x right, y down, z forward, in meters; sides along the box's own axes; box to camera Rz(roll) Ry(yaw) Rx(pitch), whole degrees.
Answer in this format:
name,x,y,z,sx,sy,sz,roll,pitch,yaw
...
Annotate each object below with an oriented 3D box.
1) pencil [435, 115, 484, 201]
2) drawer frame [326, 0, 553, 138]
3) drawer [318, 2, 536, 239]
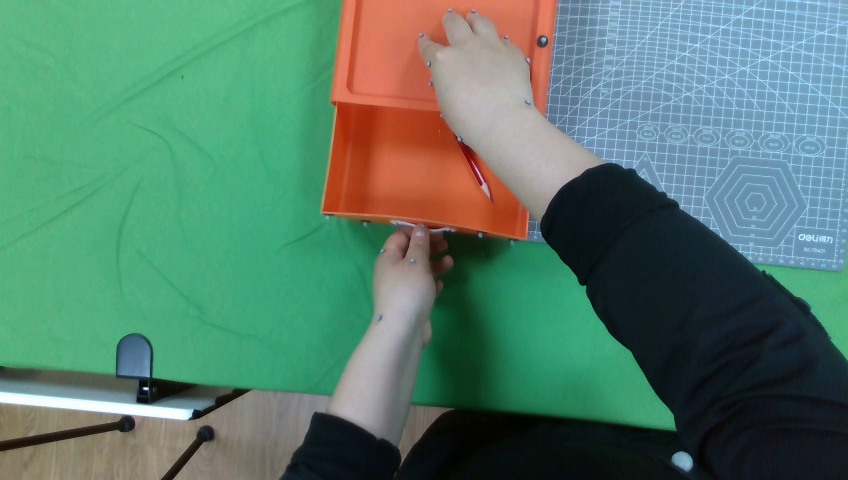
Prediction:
name,x,y,z,sx,sy,sz,roll,pitch,yaw
pencil,0.015,-0.125,0.608,0.012,0.012,0.194,-27,89,5
drawer frame,0.020,-0.217,0.586,0.201,0.083,0.213,5,90,6
drawer,0.011,-0.112,0.588,0.194,0.073,0.211,7,89,5
